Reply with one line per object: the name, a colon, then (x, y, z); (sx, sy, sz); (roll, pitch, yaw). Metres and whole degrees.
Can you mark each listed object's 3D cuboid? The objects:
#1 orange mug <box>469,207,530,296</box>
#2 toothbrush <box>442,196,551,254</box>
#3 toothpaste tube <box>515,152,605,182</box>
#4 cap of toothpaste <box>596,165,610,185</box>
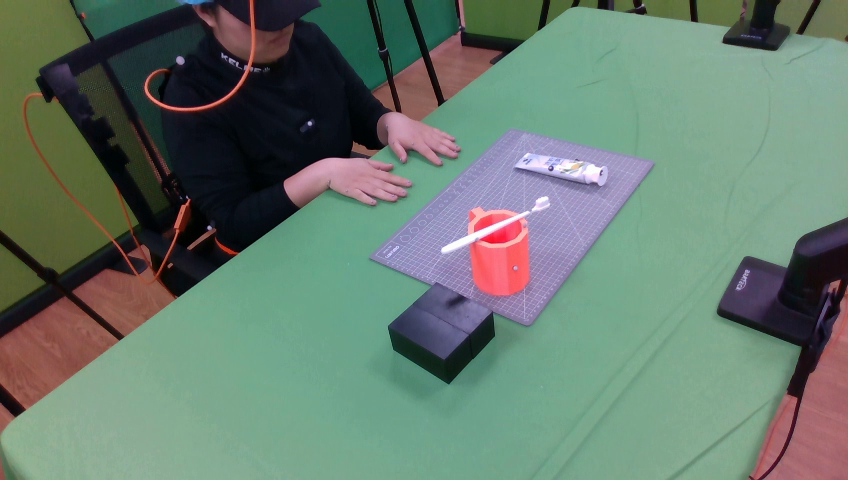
orange mug: (0.104, 0.008, 0.894); (0.084, 0.101, 0.125); (-22, 46, -14)
toothbrush: (0.103, -0.021, 0.846); (0.182, 0.017, 0.014); (-25, 48, -18)
toothpaste tube: (0.248, -0.133, 1.087); (0.164, 0.034, 0.055); (18, 42, 34)
cap of toothpaste: (0.307, -0.113, 1.041); (0.011, 0.037, 0.037); (20, 49, 39)
